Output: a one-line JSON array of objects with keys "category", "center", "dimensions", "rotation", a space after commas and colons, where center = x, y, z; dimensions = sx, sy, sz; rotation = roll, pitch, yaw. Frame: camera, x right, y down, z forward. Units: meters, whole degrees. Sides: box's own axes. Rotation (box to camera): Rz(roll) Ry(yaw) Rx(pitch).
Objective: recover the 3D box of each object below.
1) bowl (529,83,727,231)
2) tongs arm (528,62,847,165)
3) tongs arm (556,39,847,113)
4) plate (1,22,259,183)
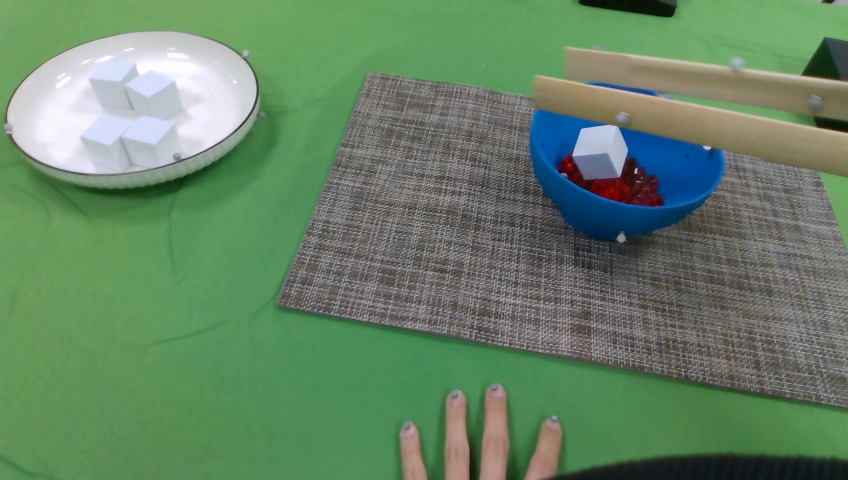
[{"category": "bowl", "center": [0.155, -0.060, 0.498], "dimensions": [0.151, 0.077, 0.150], "rotation": [2, 51, -3]}, {"category": "tongs arm", "center": [0.232, -0.057, 0.329], "dimensions": [0.384, 0.028, 0.028], "rotation": [19, 44, 29]}, {"category": "tongs arm", "center": [0.248, -0.074, 0.345], "dimensions": [0.382, 0.027, 0.050], "rotation": [17, 46, 27]}, {"category": "plate", "center": [-0.254, -0.123, 0.544], "dimensions": [0.209, 0.038, 0.207], "rotation": [3, 51, -3]}]
